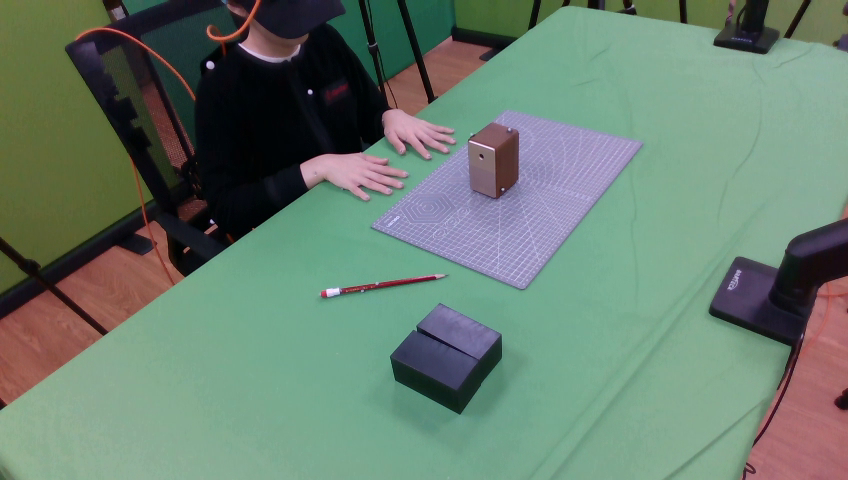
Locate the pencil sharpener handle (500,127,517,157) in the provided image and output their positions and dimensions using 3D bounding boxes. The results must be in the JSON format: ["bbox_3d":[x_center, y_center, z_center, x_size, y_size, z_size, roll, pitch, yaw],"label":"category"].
[{"bbox_3d":[0.154,-0.178,1.072,0.036,0.068,0.031,36,55,20],"label":"pencil sharpener handle"}]

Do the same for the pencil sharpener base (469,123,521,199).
[{"bbox_3d":[0.126,-0.138,1.050,0.061,0.107,0.077,24,50,33],"label":"pencil sharpener base"}]

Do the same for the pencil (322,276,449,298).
[{"bbox_3d":[-0.058,0.069,0.916,0.194,0.012,0.012,-8,40,-3],"label":"pencil"}]
